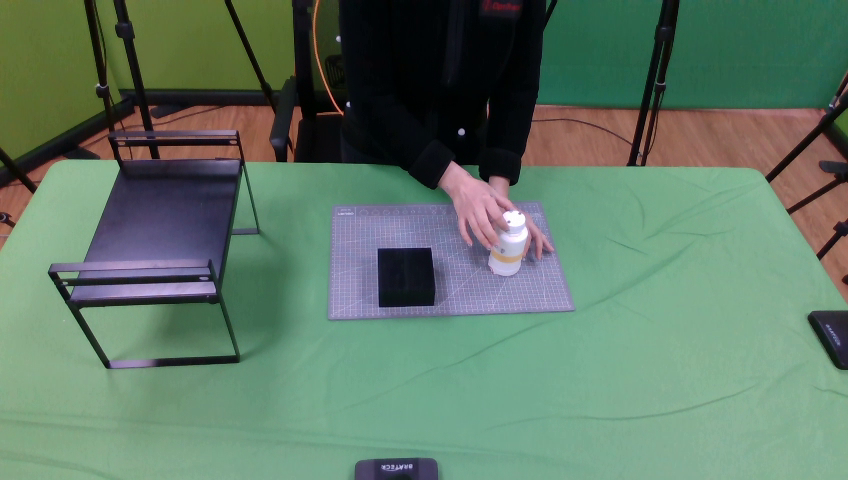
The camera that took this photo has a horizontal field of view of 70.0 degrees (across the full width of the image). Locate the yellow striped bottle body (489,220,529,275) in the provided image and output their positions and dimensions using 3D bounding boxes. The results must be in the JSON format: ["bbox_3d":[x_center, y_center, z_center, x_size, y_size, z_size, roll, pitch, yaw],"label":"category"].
[{"bbox_3d":[0.159,0.005,1.130,0.063,0.121,0.062,2,46,-2],"label":"yellow striped bottle body"}]

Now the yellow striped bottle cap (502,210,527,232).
[{"bbox_3d":[0.162,-0.035,1.088,0.044,0.019,0.044,-2,42,2],"label":"yellow striped bottle cap"}]
